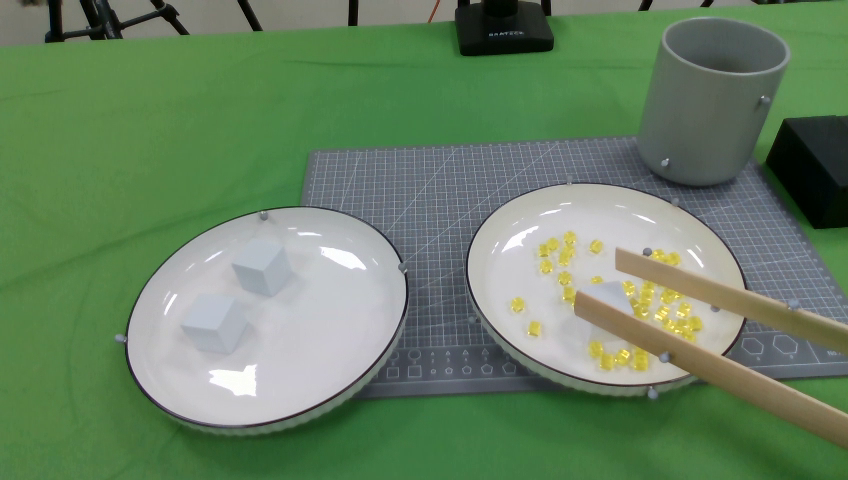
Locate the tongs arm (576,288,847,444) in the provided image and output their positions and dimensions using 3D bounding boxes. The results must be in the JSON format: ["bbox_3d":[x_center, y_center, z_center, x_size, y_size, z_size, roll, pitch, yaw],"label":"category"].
[{"bbox_3d":[0.255,0.104,0.315,0.384,0.028,0.028,23,48,33],"label":"tongs arm"}]

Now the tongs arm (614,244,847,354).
[{"bbox_3d":[0.276,0.084,0.332,0.381,0.027,0.050,22,50,32],"label":"tongs arm"}]

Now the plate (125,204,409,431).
[{"bbox_3d":[-0.114,0.054,0.464,0.209,0.038,0.207,-2,45,3],"label":"plate"}]

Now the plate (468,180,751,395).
[{"bbox_3d":[0.138,0.033,0.472,0.207,0.039,0.205,-1,45,2],"label":"plate"}]

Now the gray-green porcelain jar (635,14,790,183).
[{"bbox_3d":[0.257,-0.125,0.558,0.106,0.128,0.105,-2,45,2],"label":"gray-green porcelain jar"}]
